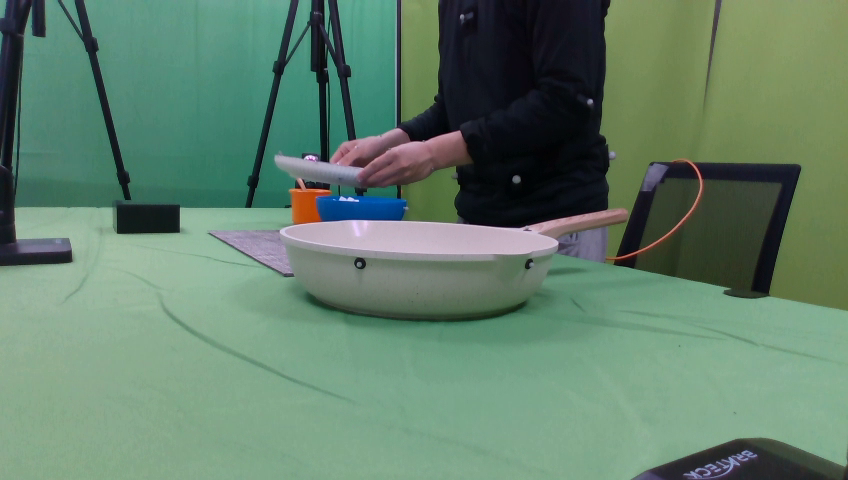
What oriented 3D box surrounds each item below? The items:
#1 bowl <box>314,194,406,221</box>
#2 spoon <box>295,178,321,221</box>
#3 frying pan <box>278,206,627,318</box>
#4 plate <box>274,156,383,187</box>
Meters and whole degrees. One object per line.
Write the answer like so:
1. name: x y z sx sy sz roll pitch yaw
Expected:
1. bowl: -0.105 -0.032 0.991 0.151 0.077 0.151 2 7 0
2. spoon: -0.268 -0.113 1.336 0.042 0.193 0.021 -5 -34 -42
3. frying pan: 0.079 0.002 0.705 0.490 0.102 0.305 -12 15 -33
4. plate: -0.184 -0.130 1.162 0.208 0.039 0.207 8 6 -1
